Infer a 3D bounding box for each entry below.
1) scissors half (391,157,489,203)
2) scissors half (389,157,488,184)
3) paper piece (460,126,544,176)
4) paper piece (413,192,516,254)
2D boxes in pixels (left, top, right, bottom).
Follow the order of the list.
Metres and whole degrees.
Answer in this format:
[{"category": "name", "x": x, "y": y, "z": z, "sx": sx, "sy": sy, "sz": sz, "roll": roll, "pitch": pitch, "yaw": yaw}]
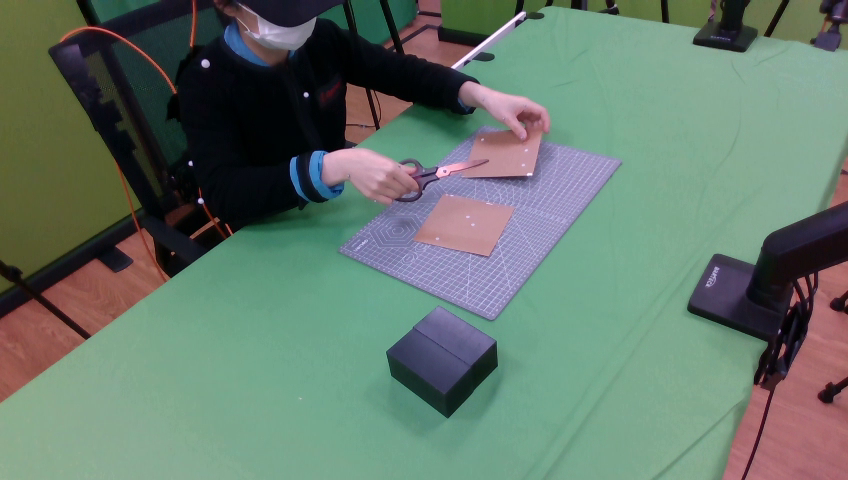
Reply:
[{"category": "scissors half", "x": 0.024, "y": -0.100, "z": 0.977, "sx": 0.174, "sy": 0.013, "sz": 0.040, "roll": -22, "pitch": 68, "yaw": 19}, {"category": "scissors half", "x": 0.021, "y": -0.119, "z": 0.982, "sx": 0.174, "sy": 0.013, "sz": 0.040, "roll": -5, "pitch": 80, "yaw": 23}, {"category": "paper piece", "x": 0.147, "y": -0.164, "z": 1.122, "sx": 0.135, "sy": 0.009, "sz": 0.138, "roll": 2, "pitch": 48, "yaw": 21}, {"category": "paper piece", "x": 0.068, "y": -0.030, "z": 1.000, "sx": 0.134, "sy": 0.004, "sz": 0.136, "roll": 12, "pitch": 44, "yaw": 23}]
